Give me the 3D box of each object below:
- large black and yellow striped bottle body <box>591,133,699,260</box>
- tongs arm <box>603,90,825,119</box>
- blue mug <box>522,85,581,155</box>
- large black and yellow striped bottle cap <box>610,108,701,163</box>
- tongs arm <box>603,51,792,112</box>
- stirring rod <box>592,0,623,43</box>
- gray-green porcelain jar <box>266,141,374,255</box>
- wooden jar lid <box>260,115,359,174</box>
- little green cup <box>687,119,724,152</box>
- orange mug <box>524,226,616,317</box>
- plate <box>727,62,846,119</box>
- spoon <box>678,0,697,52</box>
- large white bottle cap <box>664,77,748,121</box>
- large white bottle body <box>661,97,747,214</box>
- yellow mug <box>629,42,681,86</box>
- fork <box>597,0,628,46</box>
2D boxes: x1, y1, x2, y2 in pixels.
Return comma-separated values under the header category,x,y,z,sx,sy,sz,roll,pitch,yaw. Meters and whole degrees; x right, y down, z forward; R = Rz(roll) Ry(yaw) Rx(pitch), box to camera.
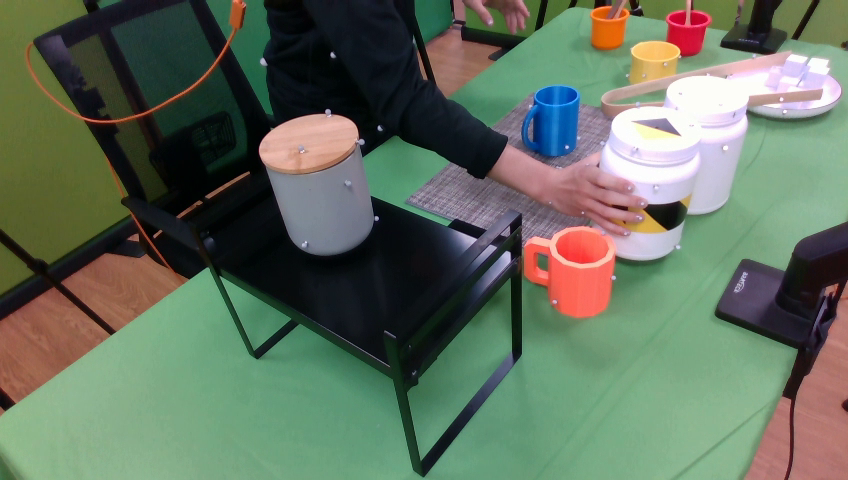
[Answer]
category,x,y,z,sx,sy,sz,roll,pitch,yaw
large black and yellow striped bottle body,0.313,-0.078,0.863,0.131,0.185,0.130,-3,40,3
tongs arm,0.546,-0.262,1.163,0.386,0.028,0.028,-1,50,18
blue mug,0.233,-0.218,1.127,0.117,0.106,0.081,-23,43,-16
large black and yellow striped bottle cap,0.309,-0.141,0.808,0.115,0.019,0.114,-3,41,3
tongs arm,0.552,-0.319,1.224,0.384,0.027,0.050,-11,44,7
stirring rod,0.460,-0.557,1.461,0.014,0.176,0.006,35,11,22
gray-green porcelain jar,-0.117,-0.054,0.703,0.106,0.127,0.105,-4,40,4
wooden jar lid,-0.124,-0.101,0.662,0.108,0.021,0.108,-4,41,4
little green cup,0.514,-0.191,1.109,0.061,0.039,0.061,-5,40,5
orange mug,0.201,0.038,0.845,0.125,0.101,0.083,18,46,21
plate,0.710,-0.292,1.198,0.207,0.039,0.206,-4,40,4
spoon,0.614,-0.526,1.402,0.041,0.022,0.193,3,86,11
large white bottle cap,0.421,-0.212,0.905,0.115,0.018,0.114,-4,40,4
large white bottle body,0.431,-0.148,0.959,0.130,0.185,0.130,-4,41,4
yellow mug,0.495,-0.389,1.321,0.100,0.064,0.130,-14,40,-6
fork,0.479,-0.558,1.455,0.028,0.019,0.207,35,100,38
